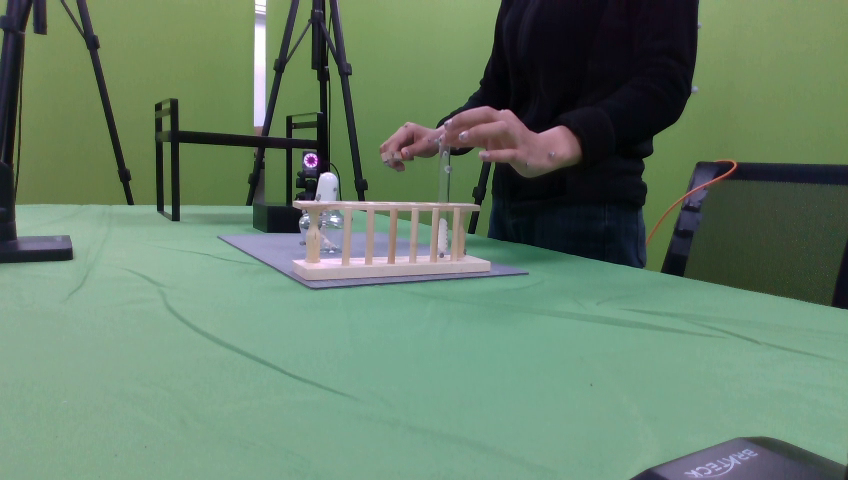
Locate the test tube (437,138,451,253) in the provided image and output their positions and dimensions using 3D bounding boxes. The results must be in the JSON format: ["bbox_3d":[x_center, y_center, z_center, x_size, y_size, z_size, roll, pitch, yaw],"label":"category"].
[{"bbox_3d":[0.025,-0.056,0.782,0.017,0.150,0.017,1,11,0],"label":"test tube"}]

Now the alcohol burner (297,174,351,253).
[{"bbox_3d":[-0.146,-0.040,0.894,0.078,0.119,0.078,5,7,0],"label":"alcohol burner"}]

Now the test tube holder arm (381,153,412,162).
[{"bbox_3d":[-0.045,-0.144,1.044,0.013,0.015,0.178,-12,5,12],"label":"test tube holder arm"}]

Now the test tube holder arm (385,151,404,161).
[{"bbox_3d":[-0.049,-0.139,0.999,0.010,0.015,0.088,-12,5,13],"label":"test tube holder arm"}]

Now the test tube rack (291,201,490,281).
[{"bbox_3d":[-0.035,-0.002,0.745,0.243,0.085,0.066,-1,8,-28],"label":"test tube rack"}]

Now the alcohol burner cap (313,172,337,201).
[{"bbox_3d":[-0.144,-0.076,0.888,0.034,0.048,0.034,8,6,-1],"label":"alcohol burner cap"}]
